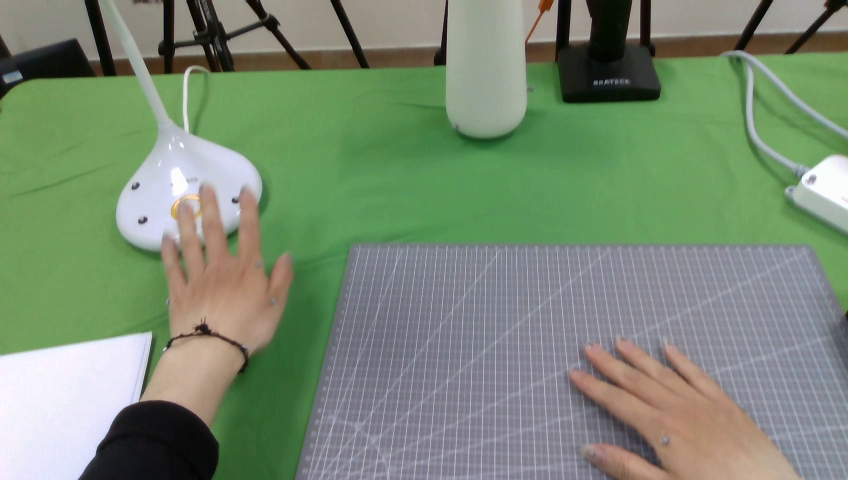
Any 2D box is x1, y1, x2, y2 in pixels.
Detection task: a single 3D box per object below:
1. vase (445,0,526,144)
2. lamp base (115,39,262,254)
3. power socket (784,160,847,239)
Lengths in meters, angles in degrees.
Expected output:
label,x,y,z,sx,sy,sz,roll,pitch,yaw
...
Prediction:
label,x,y,z,sx,sy,sz,roll,pitch,yaw
vase,0.070,-0.210,0.688,0.098,0.202,0.097,-2,45,3
lamp base,-0.276,-0.105,0.636,0.161,0.182,0.177,-23,45,-15
power socket,0.458,-0.005,0.563,0.072,0.033,0.224,-29,49,-21
